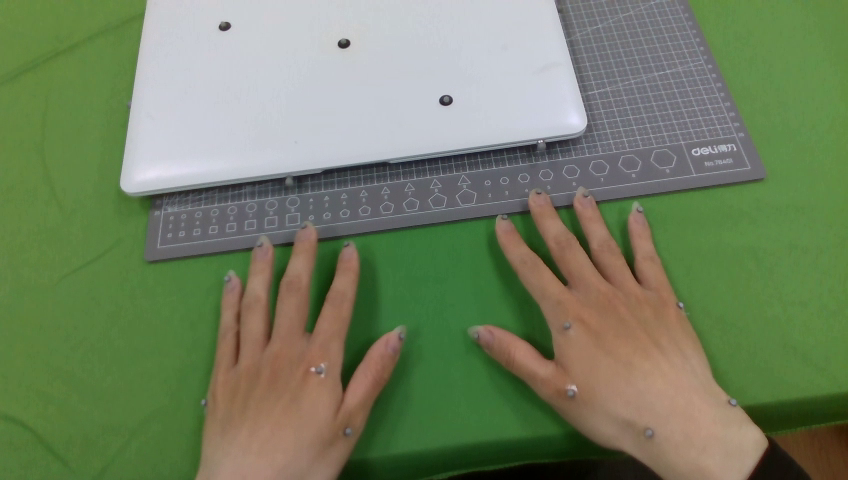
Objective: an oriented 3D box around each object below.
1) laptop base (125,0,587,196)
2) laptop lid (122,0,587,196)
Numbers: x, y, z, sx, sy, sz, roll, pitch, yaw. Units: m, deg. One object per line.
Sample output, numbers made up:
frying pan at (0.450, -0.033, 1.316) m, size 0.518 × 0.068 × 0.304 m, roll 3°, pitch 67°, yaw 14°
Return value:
laptop base at (-0.063, -0.155, 0.509) m, size 0.354 × 0.023 × 0.233 m, roll -8°, pitch 65°, yaw 1°
laptop lid at (-0.064, -0.158, 0.497) m, size 0.357 × 0.013 × 0.239 m, roll -6°, pitch 64°, yaw 2°
